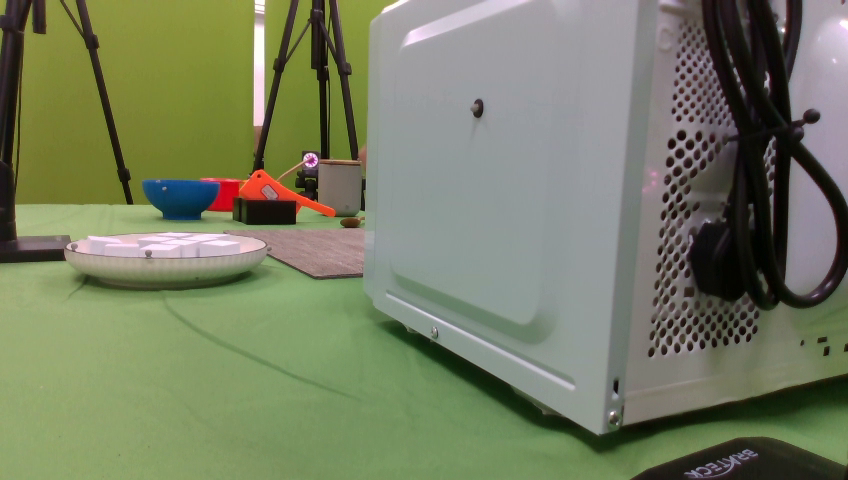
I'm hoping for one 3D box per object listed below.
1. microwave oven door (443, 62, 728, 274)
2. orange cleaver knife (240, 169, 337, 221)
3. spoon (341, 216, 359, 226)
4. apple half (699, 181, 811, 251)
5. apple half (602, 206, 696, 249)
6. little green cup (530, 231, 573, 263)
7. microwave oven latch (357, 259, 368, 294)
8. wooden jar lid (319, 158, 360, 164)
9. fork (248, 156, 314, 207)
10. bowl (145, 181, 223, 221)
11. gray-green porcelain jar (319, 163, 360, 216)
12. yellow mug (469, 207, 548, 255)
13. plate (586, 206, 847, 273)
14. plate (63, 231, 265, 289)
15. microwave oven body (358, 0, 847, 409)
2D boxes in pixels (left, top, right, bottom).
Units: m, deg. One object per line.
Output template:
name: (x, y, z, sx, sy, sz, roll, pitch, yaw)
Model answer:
microwave oven door: (0.189, -0.097, 0.786, 0.354, 0.243, 0.039, 6, 10, 31)
orange cleaver knife: (-0.287, -0.081, 1.299, 0.212, 0.077, 0.012, 25, -2, -31)
spoon: (-0.132, -0.048, 1.305, 0.041, 0.021, 0.194, -14, 4, 14)
apple half: (0.281, -0.022, 0.511, 0.075, 0.053, 0.080, 10, -10, -17)
apple half: (0.206, -0.014, 0.544, 0.081, 0.033, 0.081, 4, 12, -1)
little green cup: (0.184, 0.010, 0.879, 0.061, 0.038, 0.061, 2, 8, 0)
microwave oven latch: (-0.019, 0.031, 0.530, 0.079, 0.029, 0.030, -1, 7, -29)
wooden jar lid: (-0.203, -0.189, 1.482, 0.108, 0.020, 0.108, 2, 10, 0)
fork: (-0.360, -0.147, 1.523, 0.207, 0.019, 0.028, -43, 17, -6)
bowl: (-0.499, -0.081, 1.261, 0.151, 0.077, 0.151, 2, 8, 0)
gray-green porcelain jar: (-0.204, -0.126, 1.490, 0.106, 0.126, 0.106, 2, 8, 0)
yellow mug: (0.137, -0.015, 0.951, 0.131, 0.064, 0.099, 2, 7, -21)
plate: (0.244, -0.003, 0.516, 0.209, 0.038, 0.209, 1, 7, 0)
plate: (-0.288, 0.021, 0.687, 0.208, 0.039, 0.207, 2, 8, 0)
microwave oven body: (0.210, -0.051, 0.471, 0.444, 0.260, 0.324, -1, 7, -28)
